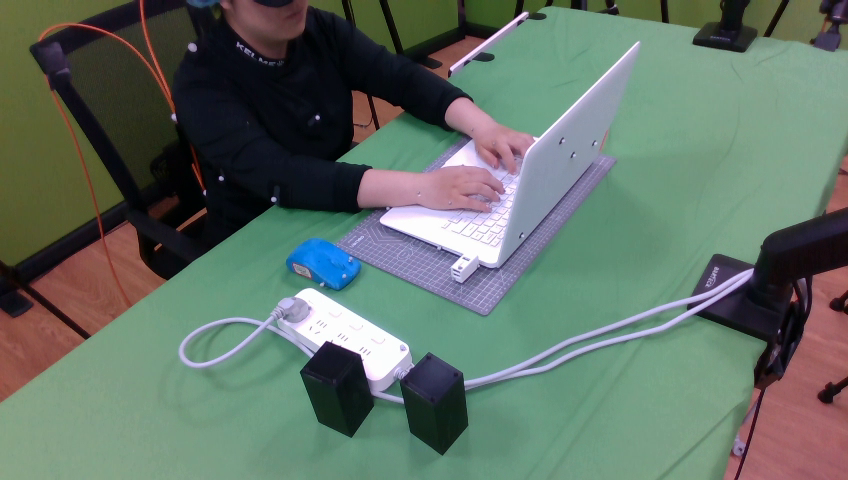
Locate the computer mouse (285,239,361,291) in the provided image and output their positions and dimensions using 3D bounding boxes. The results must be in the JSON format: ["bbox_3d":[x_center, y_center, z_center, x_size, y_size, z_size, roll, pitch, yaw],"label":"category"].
[{"bbox_3d":[-0.158,0.036,0.940,0.116,0.041,0.063,22,46,25],"label":"computer mouse"}]

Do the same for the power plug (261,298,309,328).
[{"bbox_3d":[-0.192,0.107,0.831,0.073,0.053,0.035,-32,43,-25],"label":"power plug"}]

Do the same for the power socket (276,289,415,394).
[{"bbox_3d":[-0.113,0.133,0.821,0.225,0.033,0.072,25,49,33],"label":"power socket"}]

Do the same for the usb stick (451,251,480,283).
[{"bbox_3d":[0.066,0.036,0.899,0.021,0.027,0.059,23,46,32],"label":"usb stick"}]

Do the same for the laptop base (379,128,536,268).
[{"bbox_3d":[0.118,-0.088,1.059,0.233,0.023,0.355,19,47,33],"label":"laptop base"}]

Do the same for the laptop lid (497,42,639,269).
[{"bbox_3d":[0.221,-0.130,0.913,0.013,0.242,0.357,31,51,21],"label":"laptop lid"}]
